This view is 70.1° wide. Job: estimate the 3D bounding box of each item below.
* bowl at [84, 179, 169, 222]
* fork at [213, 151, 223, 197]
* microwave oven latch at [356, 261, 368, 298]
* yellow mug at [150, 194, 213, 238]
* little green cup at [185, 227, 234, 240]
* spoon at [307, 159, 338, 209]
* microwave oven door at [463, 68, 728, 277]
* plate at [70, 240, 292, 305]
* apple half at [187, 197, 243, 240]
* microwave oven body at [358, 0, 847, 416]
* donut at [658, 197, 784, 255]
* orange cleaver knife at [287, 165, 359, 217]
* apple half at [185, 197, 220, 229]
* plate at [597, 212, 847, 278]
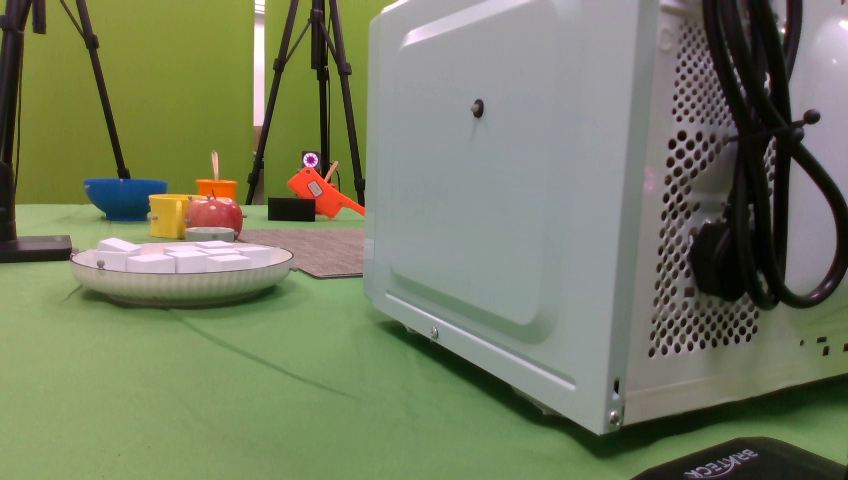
[{"bbox_3d":[-0.584,-0.078,1.194,0.151,0.077,0.151,3,8,0],"label":"bowl"},{"bbox_3d":[-0.493,-0.143,1.442,0.028,0.018,0.206,-3,52,-18],"label":"fork"},{"bbox_3d":[-0.020,0.033,0.530,0.079,0.029,0.030,0,7,-26],"label":"microwave oven latch"},{"bbox_3d":[-0.401,-0.040,1.003,0.100,0.064,0.130,-1,9,-20],"label":"yellow mug"},{"bbox_3d":[-0.285,0.005,0.805,0.061,0.038,0.061,2,8,0],"label":"little green cup"},{"bbox_3d":[-0.257,-0.147,1.567,0.041,0.022,0.193,2,50,19],"label":"spoon"},{"bbox_3d":[0.205,-0.096,0.812,0.354,0.243,0.039,9,11,41],"label":"microwave oven door"},{"bbox_3d":[-0.242,0.031,0.618,0.208,0.039,0.207,2,8,0],"label":"plate"},{"bbox_3d":[-0.305,-0.026,0.907,0.053,0.074,0.081,12,8,31],"label":"apple half"},{"bbox_3d":[0.210,-0.047,0.475,0.444,0.260,0.324,-1,7,-28],"label":"microwave oven body"},{"bbox_3d":[0.252,-0.012,0.518,0.099,0.048,0.099,0,9,0],"label":"donut"},{"bbox_3d":[-0.211,-0.092,1.382,0.212,0.077,0.012,34,1,-15],"label":"orange cleaver knife"},{"bbox_3d":[-0.338,-0.031,0.927,0.032,0.081,0.081,12,12,31],"label":"apple half"},{"bbox_3d":[0.255,0.002,0.519,0.209,0.038,0.209,2,7,0],"label":"plate"}]
